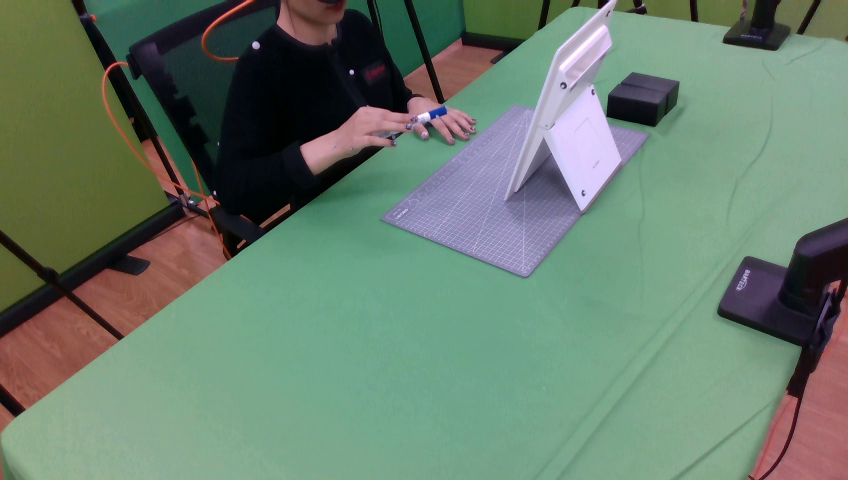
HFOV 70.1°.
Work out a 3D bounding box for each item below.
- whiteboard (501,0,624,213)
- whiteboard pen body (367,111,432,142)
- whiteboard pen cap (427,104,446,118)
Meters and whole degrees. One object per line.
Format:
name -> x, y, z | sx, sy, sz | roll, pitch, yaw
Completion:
whiteboard -> 0.271, -0.189, 0.977 | 0.143, 0.306, 0.218 | 34, 53, 16
whiteboard pen body -> -0.033, -0.203, 1.055 | 0.141, 0.017, 0.017 | -22, 42, -6
whiteboard pen cap -> 0.021, -0.226, 1.062 | 0.033, 0.018, 0.018 | -23, 42, -6
